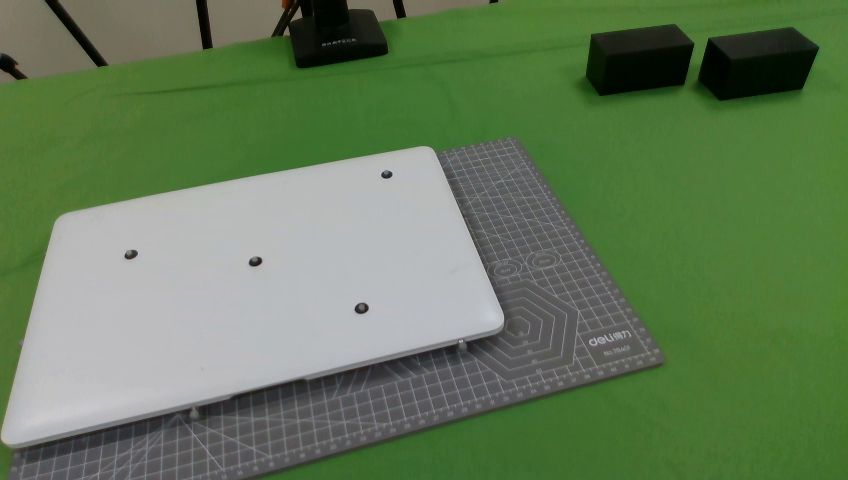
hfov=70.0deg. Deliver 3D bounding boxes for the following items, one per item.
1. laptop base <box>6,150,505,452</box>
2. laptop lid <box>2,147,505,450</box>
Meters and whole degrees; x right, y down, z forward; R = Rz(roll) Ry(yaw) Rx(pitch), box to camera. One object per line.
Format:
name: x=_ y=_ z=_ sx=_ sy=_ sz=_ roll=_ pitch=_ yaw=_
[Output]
laptop base: x=-0.135 y=0.030 z=0.505 sx=0.355 sy=0.023 sz=0.233 roll=-12 pitch=48 yaw=-8
laptop lid: x=-0.135 y=0.023 z=0.495 sx=0.357 sy=0.013 sz=0.239 roll=-11 pitch=47 yaw=-7
